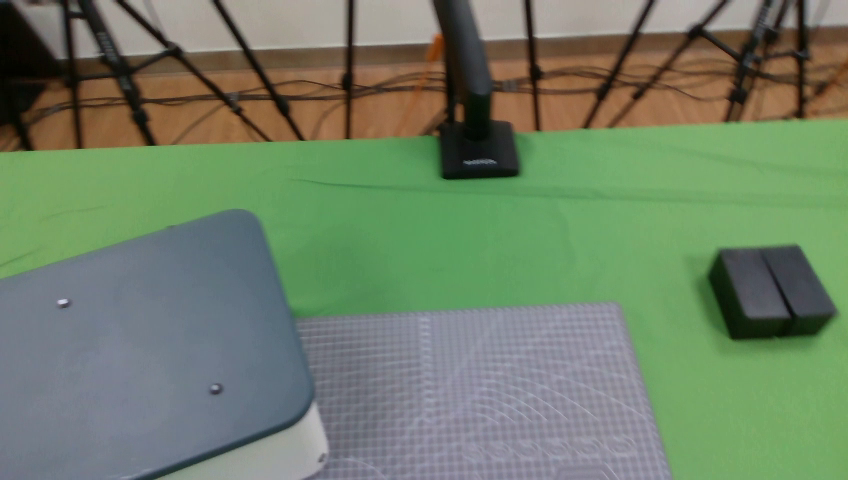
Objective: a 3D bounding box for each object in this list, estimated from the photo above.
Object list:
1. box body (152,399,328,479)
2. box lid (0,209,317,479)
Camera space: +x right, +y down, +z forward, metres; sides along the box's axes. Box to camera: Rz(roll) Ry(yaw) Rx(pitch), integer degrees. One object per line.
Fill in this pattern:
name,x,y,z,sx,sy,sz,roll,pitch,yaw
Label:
box body,-0.299,0.156,0.607,0.364,0.162,0.251,-18,52,-12
box lid,-0.300,0.108,0.549,0.372,0.015,0.260,-18,52,-13
